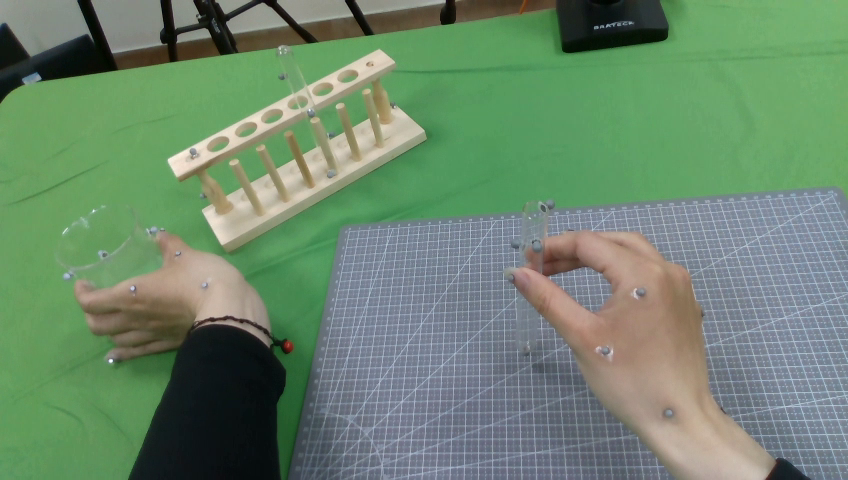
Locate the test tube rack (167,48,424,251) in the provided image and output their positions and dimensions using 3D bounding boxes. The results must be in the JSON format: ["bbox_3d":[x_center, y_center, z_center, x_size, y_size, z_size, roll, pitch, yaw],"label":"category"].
[{"bbox_3d":[-0.124,-0.096,0.623,0.242,0.086,0.066,-32,51,-13],"label":"test tube rack"}]

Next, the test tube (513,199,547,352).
[{"bbox_3d":[0.069,0.030,0.404,0.017,0.152,0.017,-3,48,3],"label":"test tube"}]

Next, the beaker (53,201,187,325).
[{"bbox_3d":[-0.271,0.024,0.550,0.083,0.101,0.074,32,64,34],"label":"beaker"}]

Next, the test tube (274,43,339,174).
[{"bbox_3d":[-0.110,-0.121,0.582,0.017,0.152,0.017,-7,49,9],"label":"test tube"}]
